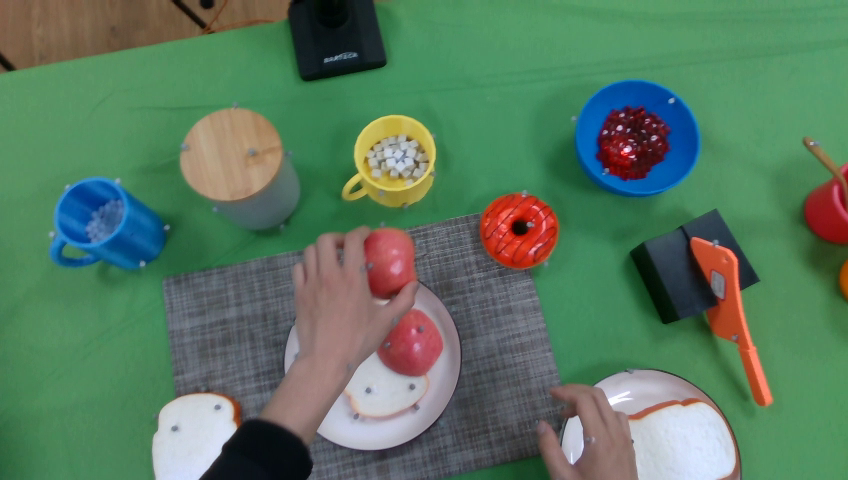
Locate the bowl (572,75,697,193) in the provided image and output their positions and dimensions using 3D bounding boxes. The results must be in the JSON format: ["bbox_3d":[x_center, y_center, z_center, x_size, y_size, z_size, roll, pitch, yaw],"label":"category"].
[{"bbox_3d":[0.255,-0.122,0.767,0.151,0.077,0.150,0,77,-1],"label":"bowl"}]

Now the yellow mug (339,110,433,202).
[{"bbox_3d":[-0.051,-0.096,0.761,0.131,0.064,0.099,-35,79,-8],"label":"yellow mug"}]

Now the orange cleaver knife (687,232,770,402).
[{"bbox_3d":[0.357,0.090,0.716,0.012,0.077,0.212,-22,99,-13],"label":"orange cleaver knife"}]

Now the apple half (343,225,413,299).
[{"bbox_3d":[-0.049,0.022,0.643,0.075,0.053,0.080,-1,83,0],"label":"apple half"}]

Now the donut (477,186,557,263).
[{"bbox_3d":[0.115,-0.019,0.753,0.099,0.048,0.098,0,77,-1],"label":"donut"}]

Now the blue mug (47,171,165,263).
[{"bbox_3d":[-0.381,-0.015,0.713,0.116,0.106,0.082,-37,79,-9],"label":"blue mug"}]

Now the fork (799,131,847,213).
[{"bbox_3d":[0.492,-0.075,0.726,0.209,0.018,0.028,30,72,-37],"label":"fork"}]

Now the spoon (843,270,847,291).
[{"bbox_3d":[0.596,0.018,0.704,0.022,0.193,0.041,-3,68,-48],"label":"spoon"}]

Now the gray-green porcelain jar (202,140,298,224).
[{"bbox_3d":[-0.210,-0.080,0.723,0.106,0.127,0.105,0,76,-1],"label":"gray-green porcelain jar"}]

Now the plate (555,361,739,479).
[{"bbox_3d":[0.252,0.246,0.698,0.209,0.038,0.208,0,76,-1],"label":"plate"}]

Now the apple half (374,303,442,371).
[{"bbox_3d":[-0.016,0.112,0.699,0.081,0.033,0.081,1,74,-2],"label":"apple half"}]

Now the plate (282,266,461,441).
[{"bbox_3d":[-0.061,0.129,0.716,0.208,0.039,0.206,0,77,-1],"label":"plate"}]

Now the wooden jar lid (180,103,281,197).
[{"bbox_3d":[-0.210,-0.096,0.662,0.108,0.021,0.108,0,74,0],"label":"wooden jar lid"}]

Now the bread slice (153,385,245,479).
[{"bbox_3d":[-0.262,0.234,0.697,0.105,0.019,0.131,-4,78,-3],"label":"bread slice"}]

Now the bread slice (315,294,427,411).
[{"bbox_3d":[-0.054,0.131,0.716,0.107,0.018,0.133,-23,78,-5],"label":"bread slice"}]
